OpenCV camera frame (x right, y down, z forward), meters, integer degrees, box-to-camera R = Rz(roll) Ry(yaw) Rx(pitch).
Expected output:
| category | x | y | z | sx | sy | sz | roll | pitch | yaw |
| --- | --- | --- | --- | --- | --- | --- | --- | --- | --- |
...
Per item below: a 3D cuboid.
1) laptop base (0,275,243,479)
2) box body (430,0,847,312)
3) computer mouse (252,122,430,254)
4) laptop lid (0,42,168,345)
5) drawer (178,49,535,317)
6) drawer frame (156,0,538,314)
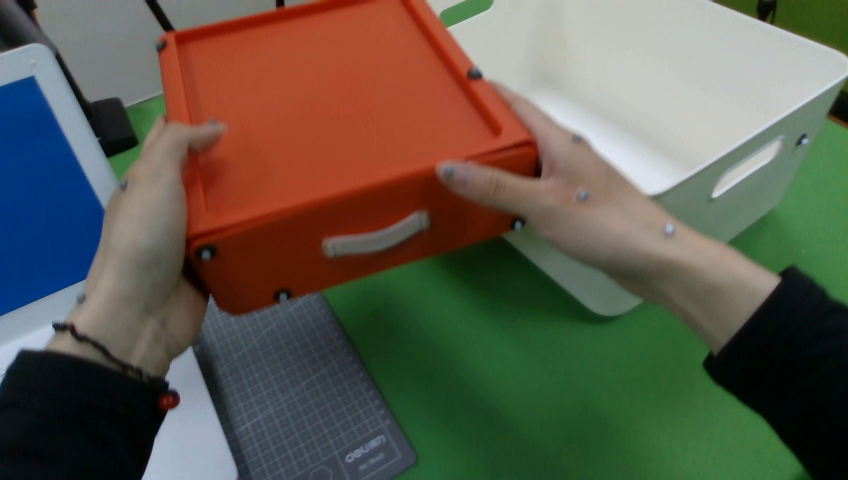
| category | x | y | z | sx | sy | sz | roll | pitch | yaw |
| --- | --- | --- | --- | --- | --- | --- | --- | --- | --- |
| laptop base | -0.338 | 0.179 | 0.466 | 0.354 | 0.023 | 0.233 | -26 | 53 | -17 |
| box body | 0.148 | -0.129 | 0.594 | 0.254 | 0.162 | 0.360 | -30 | 51 | -20 |
| computer mouse | -0.057 | -0.037 | 0.396 | 0.117 | 0.041 | 0.062 | -24 | 53 | -5 |
| laptop lid | -0.435 | 0.006 | 0.499 | 0.357 | 0.243 | 0.013 | -27 | 20 | -16 |
| drawer | -0.060 | -0.071 | 0.410 | 0.195 | 0.074 | 0.209 | -18 | 50 | -11 |
| drawer frame | -0.062 | -0.078 | 0.410 | 0.202 | 0.083 | 0.211 | -19 | 50 | -11 |
